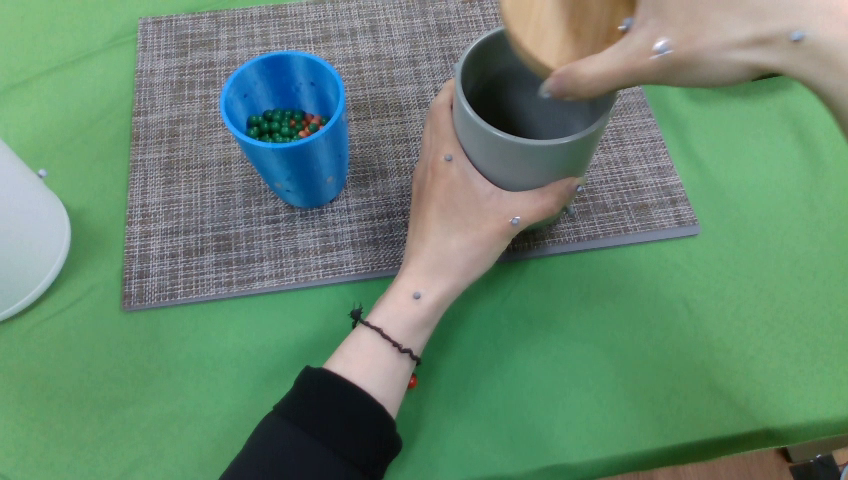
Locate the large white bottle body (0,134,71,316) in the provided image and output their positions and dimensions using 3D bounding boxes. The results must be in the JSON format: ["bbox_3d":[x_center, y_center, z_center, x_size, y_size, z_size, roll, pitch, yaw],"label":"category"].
[{"bbox_3d":[-0.333,-0.035,0.384,0.131,0.186,0.129,1,63,-1],"label":"large white bottle body"}]

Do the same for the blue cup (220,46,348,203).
[{"bbox_3d":[-0.095,-0.077,0.456,0.092,0.101,0.092,0,64,0],"label":"blue cup"}]

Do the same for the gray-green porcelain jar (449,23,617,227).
[{"bbox_3d":[0.072,-0.077,0.445,0.106,0.127,0.105,0,62,0],"label":"gray-green porcelain jar"}]

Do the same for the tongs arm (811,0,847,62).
[{"bbox_3d":[0.429,-0.109,0.527,0.051,0.027,0.381,-4,63,-11],"label":"tongs arm"}]

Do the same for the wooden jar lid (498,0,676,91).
[{"bbox_3d":[0.095,-0.132,0.363,0.108,0.021,0.107,4,65,-7],"label":"wooden jar lid"}]
